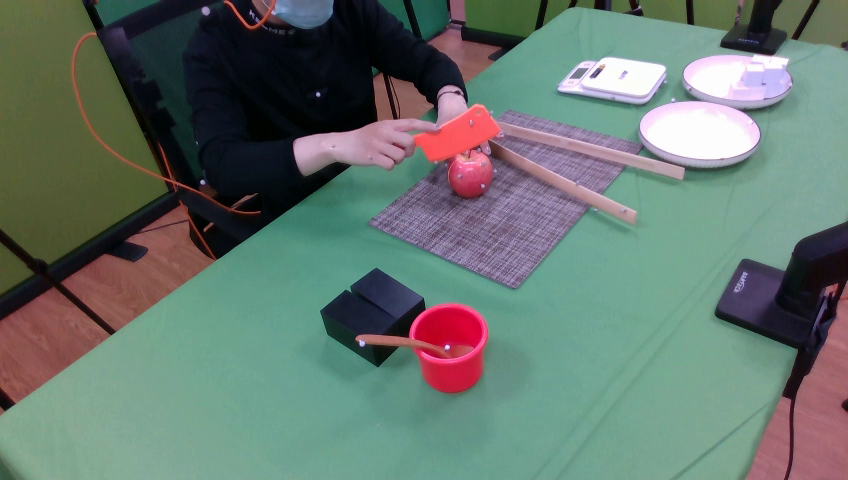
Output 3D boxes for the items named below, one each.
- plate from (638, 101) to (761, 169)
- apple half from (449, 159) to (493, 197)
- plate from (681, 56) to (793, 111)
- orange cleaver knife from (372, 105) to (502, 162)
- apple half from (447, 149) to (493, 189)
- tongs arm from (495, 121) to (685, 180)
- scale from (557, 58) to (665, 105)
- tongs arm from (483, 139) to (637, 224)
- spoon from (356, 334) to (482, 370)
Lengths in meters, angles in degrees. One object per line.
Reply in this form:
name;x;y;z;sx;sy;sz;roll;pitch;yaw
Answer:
plate;0.500;-0.190;1.111;0.209;0.038;0.208;-4;41;4
apple half;0.083;-0.101;1.036;0.081;0.081;0.032;-6;36;2
plate;0.636;-0.317;1.239;0.207;0.039;0.206;-4;40;4
orange cleaver knife;0.021;-0.162;0.993;0.211;0.078;0.012;-18;42;9
apple half;0.081;-0.125;1.066;0.081;0.075;0.053;-8;37;4
tongs arm;0.287;-0.170;1.124;0.384;0.028;0.028;21;52;29
scale;0.407;-0.348;1.314;0.199;0.032;0.149;19;47;28
tongs arm;0.228;-0.128;1.080;0.051;0.026;0.381;-33;46;-26
spoon;-0.001;0.130;0.731;0.195;0.021;0.041;22;28;-39
